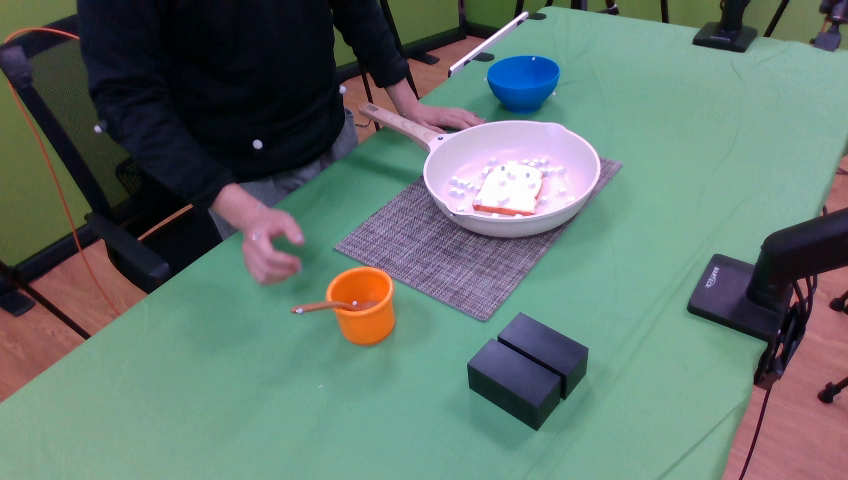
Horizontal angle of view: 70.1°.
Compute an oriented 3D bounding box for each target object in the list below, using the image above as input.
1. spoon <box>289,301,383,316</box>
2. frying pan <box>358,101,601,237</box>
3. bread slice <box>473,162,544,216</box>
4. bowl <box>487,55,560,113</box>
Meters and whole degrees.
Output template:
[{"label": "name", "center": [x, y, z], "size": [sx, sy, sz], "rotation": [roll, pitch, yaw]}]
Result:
[{"label": "spoon", "center": [-0.112, 0.087, 0.785], "size": [0.041, 0.195, 0.021], "rotation": [14, 89, 27]}, {"label": "frying pan", "center": [0.067, -0.153, 1.067], "size": [0.484, 0.103, 0.308], "rotation": [32, 52, 26]}, {"label": "bread slice", "center": [0.150, -0.088, 1.042], "size": [0.106, 0.018, 0.134], "rotation": [7, 45, 16]}, {"label": "bowl", "center": [0.208, -0.319, 1.266], "size": [0.151, 0.077, 0.150], "rotation": [-4, 41, 4]}]
